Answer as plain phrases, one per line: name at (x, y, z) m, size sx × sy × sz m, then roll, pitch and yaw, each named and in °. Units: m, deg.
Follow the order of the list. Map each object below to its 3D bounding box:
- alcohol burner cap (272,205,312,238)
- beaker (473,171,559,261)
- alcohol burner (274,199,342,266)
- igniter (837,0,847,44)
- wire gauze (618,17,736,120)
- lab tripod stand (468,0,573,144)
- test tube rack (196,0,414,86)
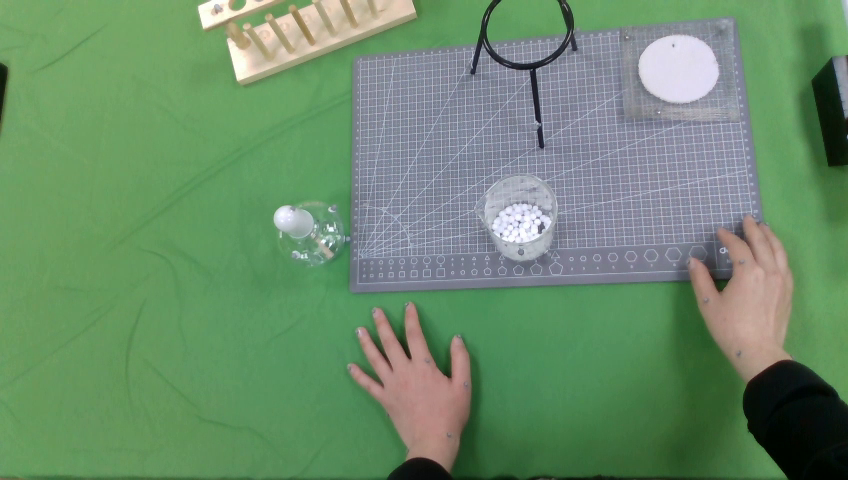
alcohol burner cap at (-0.141, -0.021, 0.634) m, size 0.034 × 0.048 × 0.033 m, roll -1°, pitch 81°, yaw 10°
beaker at (0.097, -0.021, 0.632) m, size 0.084 × 0.101 × 0.073 m, roll 3°, pitch 78°, yaw 12°
alcohol burner at (-0.134, -0.013, 0.669) m, size 0.078 × 0.120 × 0.077 m, roll -2°, pitch 75°, yaw 9°
igniter at (0.439, -0.140, 0.586) m, size 0.057 × 0.025 × 0.275 m, roll -4°, pitch 75°, yaw 13°
wire gauze at (0.283, -0.193, 0.682) m, size 0.125 × 0.011 × 0.121 m, roll 2°, pitch 78°, yaw 8°
lab tripod stand at (0.110, -0.193, 0.649) m, size 0.148 × 0.132 × 0.147 m, roll -2°, pitch 78°, yaw 9°
test tube rack at (-0.142, -0.278, 0.742) m, size 0.242 × 0.086 × 0.066 m, roll -20°, pitch 75°, yaw 6°
